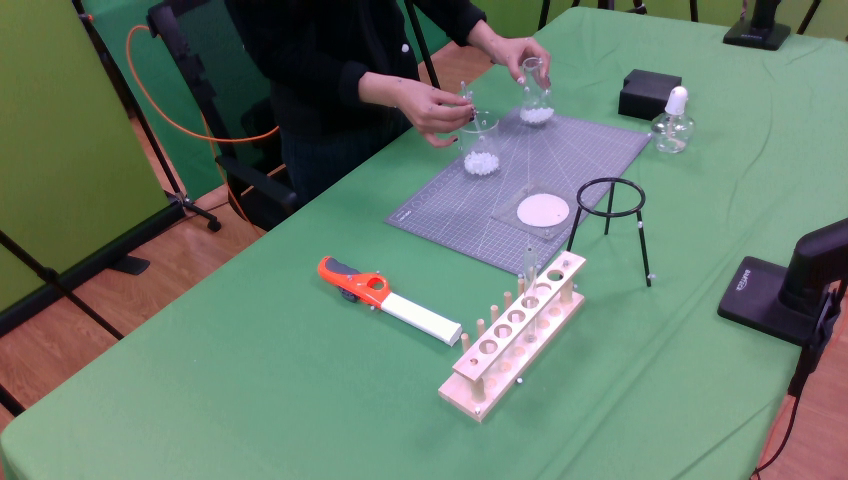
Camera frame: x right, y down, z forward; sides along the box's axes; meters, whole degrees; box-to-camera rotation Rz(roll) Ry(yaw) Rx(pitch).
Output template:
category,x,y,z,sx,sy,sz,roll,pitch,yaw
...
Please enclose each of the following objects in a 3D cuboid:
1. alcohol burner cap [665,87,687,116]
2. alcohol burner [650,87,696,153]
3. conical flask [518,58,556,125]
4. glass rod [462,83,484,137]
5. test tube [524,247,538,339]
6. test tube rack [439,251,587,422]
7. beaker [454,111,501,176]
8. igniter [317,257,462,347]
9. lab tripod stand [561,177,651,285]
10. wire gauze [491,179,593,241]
category,x,y,z,sx,sy,sz,roll,pitch,yaw
alcohol burner cap,0.445,-0.244,1.060,0.034,0.048,0.033,-2,45,3
alcohol burner,0.448,-0.217,1.084,0.078,0.119,0.077,-6,38,5
conical flask,0.217,-0.293,1.182,0.075,0.122,0.075,-8,48,10
glass rod,0.086,-0.219,1.038,0.008,0.201,0.008,-3,75,14
test tube,0.133,0.070,0.749,0.017,0.151,0.017,-5,38,4
test tube rack,0.118,0.111,0.780,0.066,0.085,0.243,26,51,34
beaker,0.101,-0.174,1.106,0.084,0.101,0.073,-5,40,6
igniter,-0.061,0.086,0.891,0.274,0.025,0.057,23,59,33
lab tripod stand,0.263,-0.014,0.864,0.148,0.132,0.147,-7,38,6
wire gauze,0.198,-0.051,1.014,0.125,0.011,0.120,-38,48,-27
